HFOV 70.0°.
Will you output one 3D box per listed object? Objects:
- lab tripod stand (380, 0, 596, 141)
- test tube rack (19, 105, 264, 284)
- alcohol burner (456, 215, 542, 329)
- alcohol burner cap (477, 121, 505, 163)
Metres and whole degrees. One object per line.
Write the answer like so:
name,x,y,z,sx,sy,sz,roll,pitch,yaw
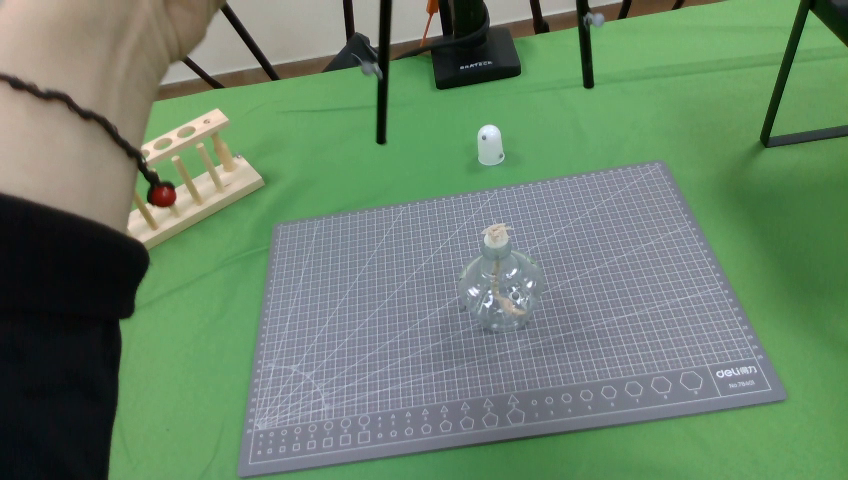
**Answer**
lab tripod stand,0.023,-0.134,0.309,0.148,0.132,0.147,-2,60,3
test tube rack,-0.321,-0.057,0.709,0.242,0.086,0.066,-33,51,-18
alcohol burner,0.065,0.024,0.535,0.078,0.120,0.077,-6,45,7
alcohol burner cap,0.078,-0.119,0.716,0.034,0.048,0.033,-6,48,7
